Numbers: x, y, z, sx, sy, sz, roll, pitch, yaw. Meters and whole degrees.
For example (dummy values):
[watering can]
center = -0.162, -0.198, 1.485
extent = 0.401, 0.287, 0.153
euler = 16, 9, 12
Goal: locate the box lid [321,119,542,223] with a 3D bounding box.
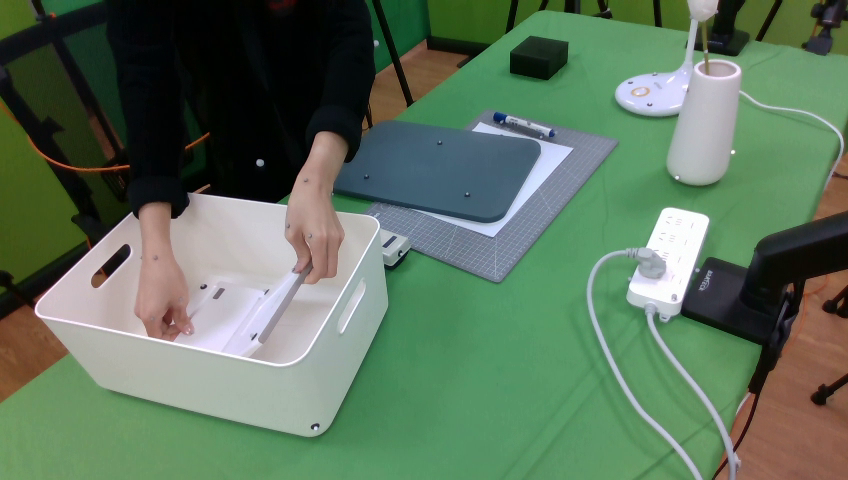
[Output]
[box lid]
center = 0.017, -0.141, 1.145
extent = 0.369, 0.015, 0.263
euler = 12, 44, 22

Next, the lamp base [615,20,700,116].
[lamp base]
center = 0.484, -0.364, 1.211
extent = 0.180, 0.181, 0.159
euler = -15, 41, -14

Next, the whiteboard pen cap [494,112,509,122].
[whiteboard pen cap]
center = 0.161, -0.253, 1.248
extent = 0.033, 0.018, 0.018
euler = 27, 51, 36

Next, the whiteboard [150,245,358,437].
[whiteboard]
center = -0.243, 0.096, 0.792
extent = 0.304, 0.144, 0.217
euler = 8, 44, 17

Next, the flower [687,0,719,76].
[flower]
center = 0.436, -0.242, 0.934
extent = 0.038, 0.364, 0.043
euler = -24, 49, 8

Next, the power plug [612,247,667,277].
[power plug]
center = 0.306, 0.031, 0.852
extent = 0.072, 0.053, 0.035
euler = 21, 48, 37

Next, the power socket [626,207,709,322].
[power socket]
center = 0.360, 0.026, 0.886
extent = 0.072, 0.033, 0.227
euler = 17, 46, 27

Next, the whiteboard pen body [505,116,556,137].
[whiteboard pen body]
center = 0.203, -0.232, 1.213
extent = 0.139, 0.017, 0.017
euler = 27, 51, 36

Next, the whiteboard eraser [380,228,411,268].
[whiteboard eraser]
center = -0.081, 0.008, 0.964
extent = 0.112, 0.042, 0.056
euler = 19, 49, 27

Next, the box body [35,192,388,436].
[box body]
center = -0.251, 0.088, 0.800
extent = 0.362, 0.161, 0.254
euler = 7, 42, 16

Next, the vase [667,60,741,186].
[vase]
center = 0.463, -0.189, 0.994
extent = 0.098, 0.201, 0.097
euler = -4, 40, 3
